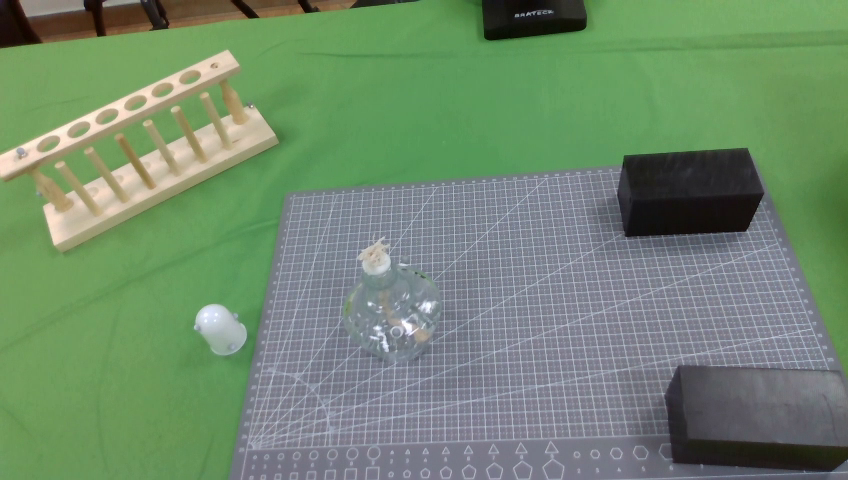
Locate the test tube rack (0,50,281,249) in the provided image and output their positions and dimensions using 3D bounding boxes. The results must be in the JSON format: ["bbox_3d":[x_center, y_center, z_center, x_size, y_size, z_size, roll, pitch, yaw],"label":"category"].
[{"bbox_3d":[-0.280,-0.094,0.618,0.242,0.086,0.066,-30,55,-13],"label":"test tube rack"}]

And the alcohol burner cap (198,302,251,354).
[{"bbox_3d":[-0.169,0.071,0.507,0.034,0.048,0.033,-5,53,7],"label":"alcohol burner cap"}]

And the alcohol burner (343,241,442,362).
[{"bbox_3d":[-0.027,0.042,0.456,0.078,0.120,0.077,-5,51,6],"label":"alcohol burner"}]
